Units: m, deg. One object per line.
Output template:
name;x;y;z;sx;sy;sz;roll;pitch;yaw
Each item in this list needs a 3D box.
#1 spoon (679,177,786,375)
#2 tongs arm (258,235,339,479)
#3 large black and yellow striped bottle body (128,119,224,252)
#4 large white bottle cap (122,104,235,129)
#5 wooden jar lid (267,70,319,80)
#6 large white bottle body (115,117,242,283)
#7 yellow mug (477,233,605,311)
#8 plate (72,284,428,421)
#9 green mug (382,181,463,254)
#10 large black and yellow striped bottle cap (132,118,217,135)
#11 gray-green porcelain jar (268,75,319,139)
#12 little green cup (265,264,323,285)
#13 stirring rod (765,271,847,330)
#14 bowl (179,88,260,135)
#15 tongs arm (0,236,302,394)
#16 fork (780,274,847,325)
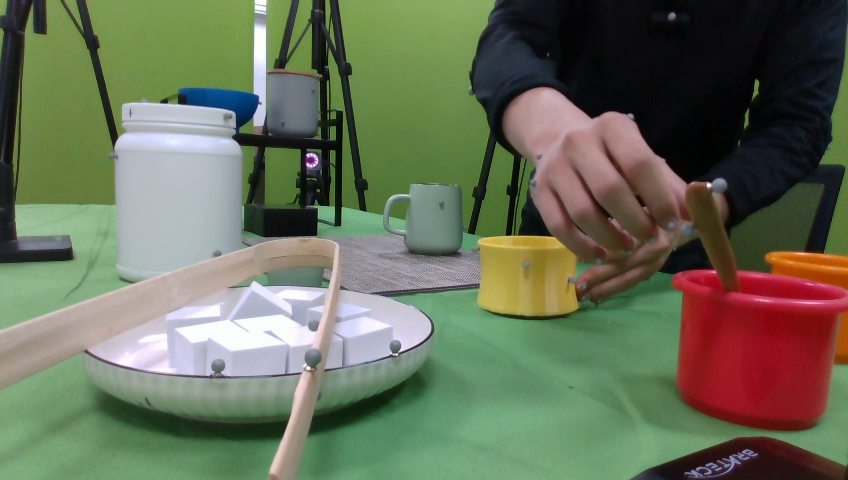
spoon;0.168;0.028;0.337;0.041;0.021;0.194;8;-35;43
tongs arm;-0.074;0.040;0.345;0.051;0.026;0.384;-2;10;-3
large black and yellow striped bottle body;-0.361;-0.081;0.887;0.131;0.184;0.130;2;8;0
large white bottle cap;-0.266;-0.135;0.663;0.115;0.018;0.115;3;7;0
wooden jar lid;-0.275;-0.339;1.271;0.108;0.020;0.108;5;6;0
large white bottle body;-0.270;-0.051;0.673;0.131;0.184;0.130;2;8;0
yellow mug;0.117;0.028;0.597;0.131;0.064;0.099;-1;5;-10
plate;-0.102;0.066;0.381;0.208;0.039;0.207;3;7;0
green mug;-0.001;-0.036;0.922;0.126;0.105;0.092;0;8;-16
large black and yellow striped bottle cap;-0.359;-0.164;0.875;0.115;0.019;0.115;2;6;0
gray-green porcelain jar;-0.277;-0.278;1.280;0.106;0.126;0.106;2;8;0
little green cup;-0.134;0.034;0.628;0.061;0.038;0.061;3;7;0
stirring rod;0.352;0.020;0.481;0.176;0.006;0.014;-40;-8;17
bowl;-0.400;-0.248;1.188;0.151;0.077;0.151;3;6;0
tongs arm;-0.157;0.038;0.347;0.028;0.028;0.388;-3;8;11
fork;0.332;0.018;0.443;0.028;0.018;0.207;-2;-35;-16
